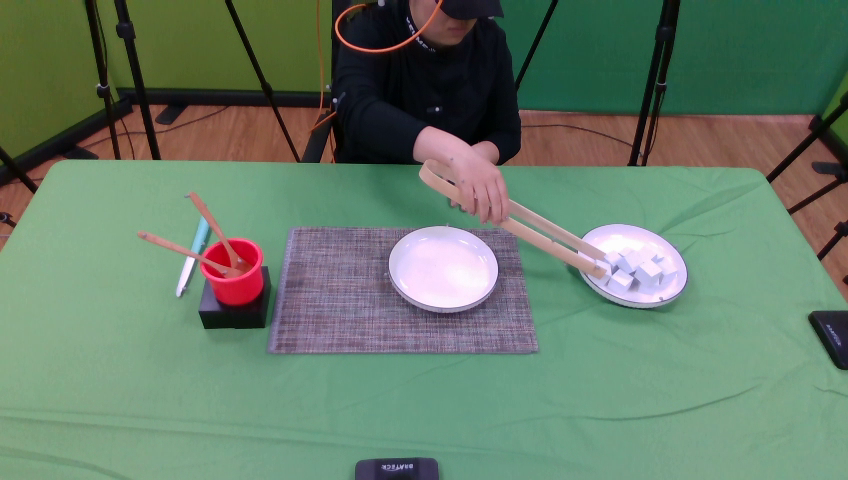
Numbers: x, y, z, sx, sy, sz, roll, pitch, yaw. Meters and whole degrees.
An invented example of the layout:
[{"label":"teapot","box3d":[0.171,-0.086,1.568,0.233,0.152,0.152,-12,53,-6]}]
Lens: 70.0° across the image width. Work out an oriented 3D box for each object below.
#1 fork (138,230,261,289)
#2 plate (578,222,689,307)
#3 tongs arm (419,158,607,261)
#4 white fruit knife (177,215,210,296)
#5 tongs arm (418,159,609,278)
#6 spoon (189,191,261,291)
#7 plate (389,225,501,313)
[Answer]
[{"label":"fork","box3d":[-0.359,0.032,0.981,0.208,0.018,0.028,31,60,-30]},{"label":"plate","box3d":[0.396,0.050,1.165,0.209,0.038,0.208,2,47,-2]},{"label":"tongs arm","box3d":[0.168,-0.055,1.121,0.388,0.028,0.028,27,38,-7]},{"label":"white fruit knife","box3d":[-0.435,0.025,1.148,0.027,0.016,0.206,-17,45,18]},{"label":"tongs arm","box3d":[0.161,-0.036,1.091,0.385,0.026,0.050,27,34,-8]},{"label":"spoon","box3d":[-0.333,0.001,1.012,0.041,0.194,0.021,-34,15,-25]},{"label":"plate","box3d":[0.038,0.057,1.129,0.208,0.039,0.206,2,46,-2]}]
